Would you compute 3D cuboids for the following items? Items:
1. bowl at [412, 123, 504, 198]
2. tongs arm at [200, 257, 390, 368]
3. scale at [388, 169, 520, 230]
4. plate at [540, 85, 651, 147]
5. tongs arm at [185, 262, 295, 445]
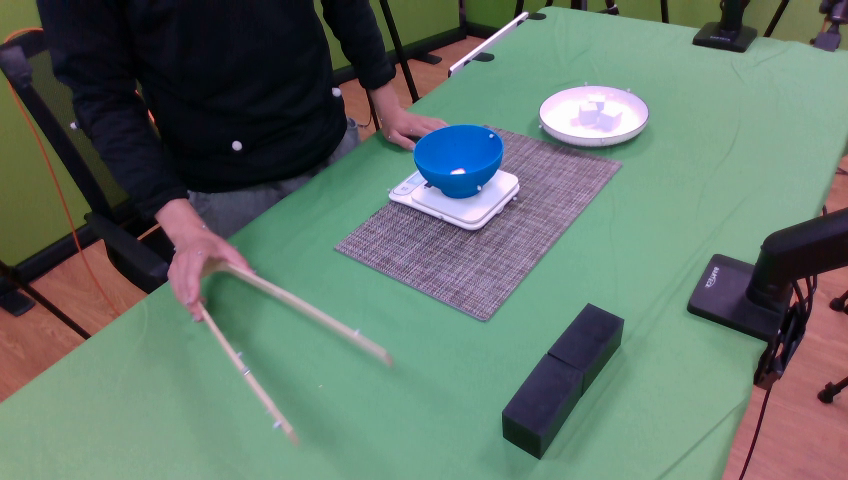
[{"bbox_3d":[0.060,-0.123,1.007,0.151,0.077,0.150,-5,41,5],"label":"bowl"},{"bbox_3d":[-0.185,0.087,0.806,0.384,0.028,0.028,20,55,38],"label":"tongs arm"},{"bbox_3d":[0.050,-0.090,1.051,0.199,0.032,0.149,24,49,31],"label":"scale"},{"bbox_3d":[0.333,-0.238,1.185,0.207,0.039,0.206,-4,41,4],"label":"plate"},{"bbox_3d":[-0.238,0.126,0.775,0.051,0.027,0.381,-36,41,-22],"label":"tongs arm"}]
